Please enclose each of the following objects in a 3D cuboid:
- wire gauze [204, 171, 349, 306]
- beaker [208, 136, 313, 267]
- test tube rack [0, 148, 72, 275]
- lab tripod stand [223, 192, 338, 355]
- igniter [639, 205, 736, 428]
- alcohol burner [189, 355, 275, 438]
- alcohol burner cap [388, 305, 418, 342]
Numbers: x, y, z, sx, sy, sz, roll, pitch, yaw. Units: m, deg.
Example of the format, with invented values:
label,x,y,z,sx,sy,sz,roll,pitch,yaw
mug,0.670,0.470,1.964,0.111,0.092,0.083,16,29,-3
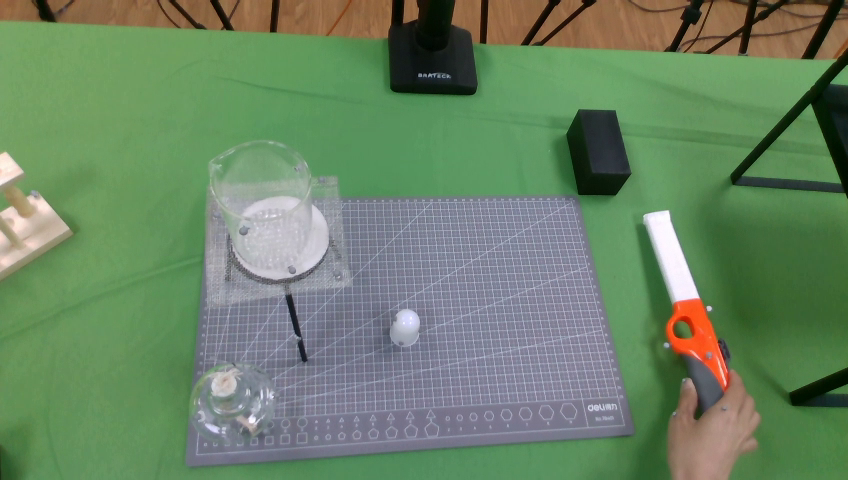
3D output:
label,x,y,z,sx,sy,sz,roll,pitch,yaw
wire gauze,-0.135,-0.007,0.549,0.122,0.011,0.124,-6,67,-10
beaker,-0.133,-0.028,0.504,0.084,0.101,0.073,22,61,4
test tube rack,-0.490,0.019,0.590,0.066,0.086,0.242,43,65,15
lab tripod stand,-0.139,0.028,0.604,0.149,0.132,0.147,4,62,-7
igniter,0.292,0.074,0.683,0.057,0.025,0.274,-10,55,8
alcohol burner,-0.176,0.138,0.552,0.078,0.120,0.077,4,60,-7
alcohol burner cap,-0.021,0.087,0.642,0.034,0.048,0.033,2,65,-4
